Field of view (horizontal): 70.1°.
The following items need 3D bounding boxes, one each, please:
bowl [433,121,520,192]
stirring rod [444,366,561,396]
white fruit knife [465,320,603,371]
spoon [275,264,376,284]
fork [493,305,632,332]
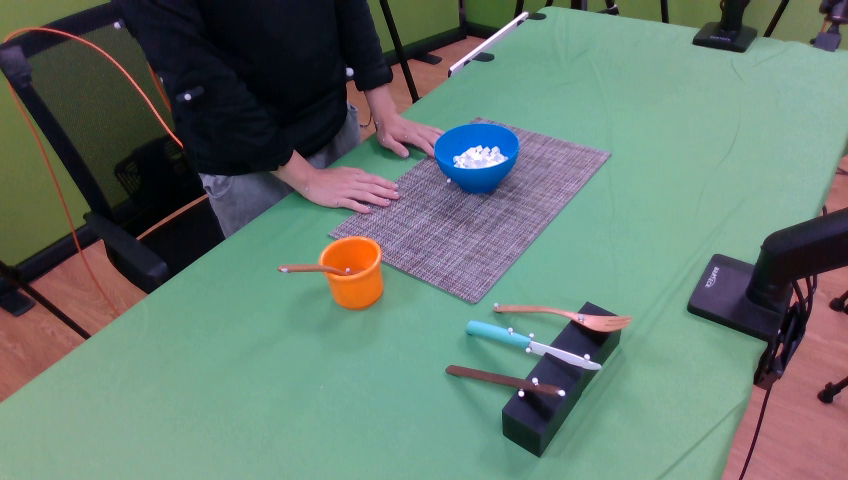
[{"bbox_3d":[0.094,-0.137,1.064,0.151,0.077,0.150,-4,41,4],"label":"bowl"},{"bbox_3d":[0.088,0.166,0.718,0.175,0.006,0.014,-1,25,48],"label":"stirring rod"},{"bbox_3d":[0.128,0.129,0.749,0.205,0.027,0.016,11,45,44],"label":"white fruit knife"},{"bbox_3d":[-0.133,0.044,0.839,0.041,0.195,0.021,25,95,33],"label":"spoon"},{"bbox_3d":[0.171,0.097,0.783,0.205,0.019,0.028,4,40,43],"label":"fork"}]
